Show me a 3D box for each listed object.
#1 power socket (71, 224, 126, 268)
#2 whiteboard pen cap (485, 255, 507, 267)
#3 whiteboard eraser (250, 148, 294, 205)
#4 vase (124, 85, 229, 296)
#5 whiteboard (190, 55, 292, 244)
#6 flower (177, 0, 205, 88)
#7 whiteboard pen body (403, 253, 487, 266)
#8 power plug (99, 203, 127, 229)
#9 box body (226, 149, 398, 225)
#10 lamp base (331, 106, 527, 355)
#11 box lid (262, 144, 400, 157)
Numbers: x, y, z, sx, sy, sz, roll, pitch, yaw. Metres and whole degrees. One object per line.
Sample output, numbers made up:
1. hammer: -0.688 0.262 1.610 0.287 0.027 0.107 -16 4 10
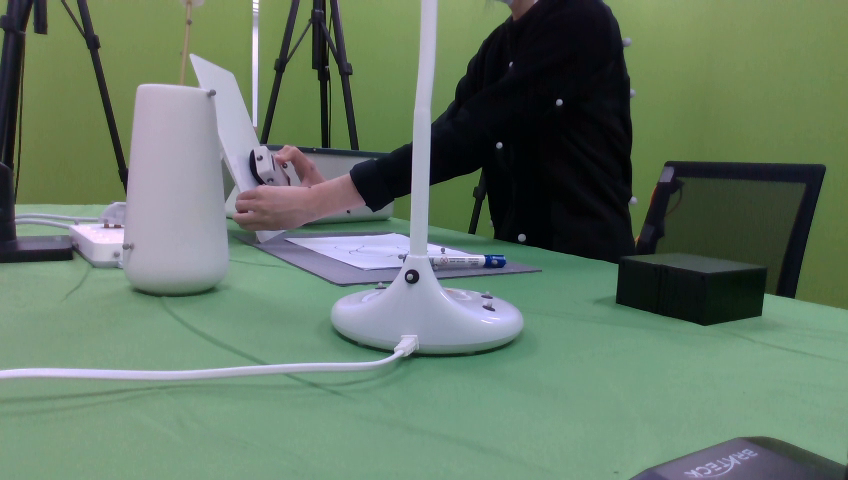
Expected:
1. power socket: -0.409 0.004 0.793 0.072 0.032 0.225 -2 8 -37
2. whiteboard pen cap: 0.093 0.028 0.809 0.033 0.018 0.018 0 8 -24
3. whiteboard eraser: -0.265 -0.108 1.052 0.042 0.055 0.113 -20 -25 3
4. vase: -0.244 -0.047 0.598 0.098 0.200 0.098 3 8 0
5. whiteboard: -0.364 -0.129 1.028 0.144 0.305 0.217 -18 7 3
6. flower: -0.243 -0.131 0.609 0.044 0.361 0.038 -5 -12 11
7. whiteboard pen body: 0.039 0.026 0.785 0.141 0.017 0.017 2 7 -24
8. power plug: -0.415 -0.026 0.848 0.073 0.052 0.035 6 5 -28
9. box body: -0.265 -0.129 1.380 0.253 0.160 0.366 8 9 39
10. lamp base: 0.006 -0.012 0.478 0.161 0.180 0.179 2 10 2
11. box lid: -0.263 -0.203 1.369 0.262 0.015 0.373 9 10 39
